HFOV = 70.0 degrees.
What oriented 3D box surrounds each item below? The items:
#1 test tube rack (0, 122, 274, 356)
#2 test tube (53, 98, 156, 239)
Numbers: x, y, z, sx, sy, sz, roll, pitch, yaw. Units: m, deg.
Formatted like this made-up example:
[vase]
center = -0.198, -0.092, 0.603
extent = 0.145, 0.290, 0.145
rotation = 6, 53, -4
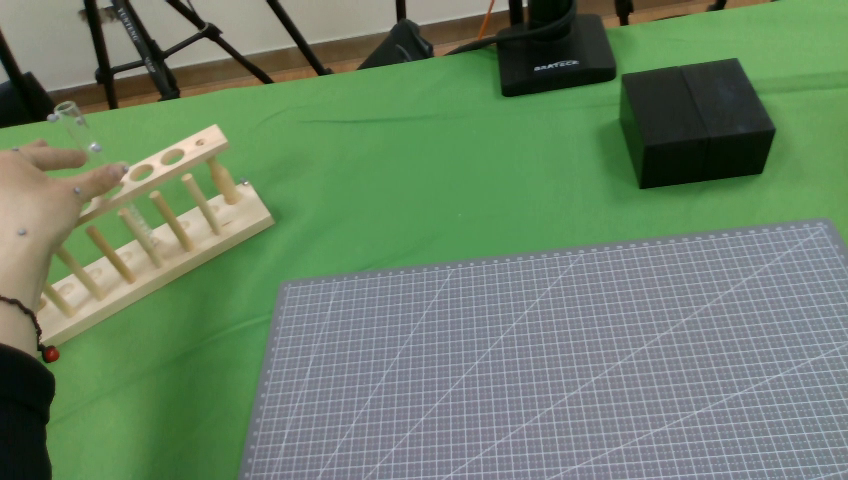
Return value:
[test tube rack]
center = -0.270, -0.003, 0.548
extent = 0.242, 0.086, 0.066
rotation = -31, 50, -13
[test tube]
center = -0.272, -0.055, 0.526
extent = 0.017, 0.152, 0.017
rotation = -6, 45, 6
